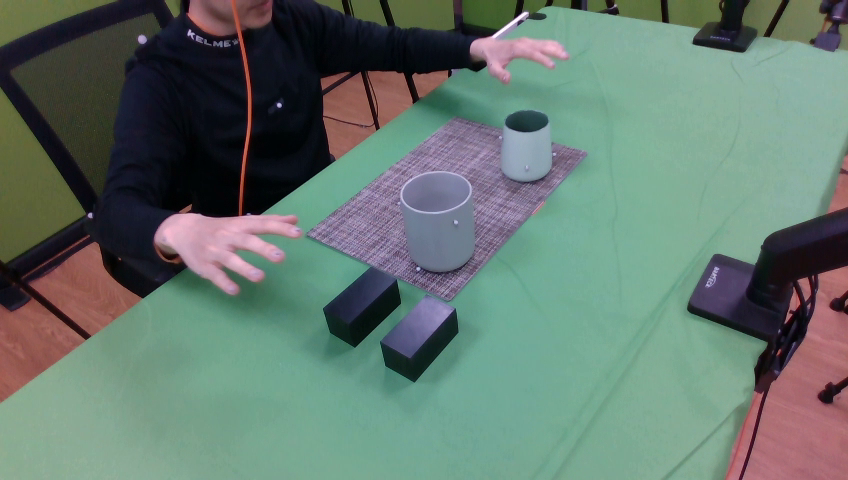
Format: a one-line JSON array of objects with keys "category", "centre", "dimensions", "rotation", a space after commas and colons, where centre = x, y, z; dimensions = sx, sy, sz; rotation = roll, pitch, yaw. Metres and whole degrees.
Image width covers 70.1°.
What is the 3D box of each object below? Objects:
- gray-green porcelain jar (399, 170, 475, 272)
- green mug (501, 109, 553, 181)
[{"category": "gray-green porcelain jar", "centre": [0.023, -0.024, 0.907], "dimensions": [0.106, 0.127, 0.105], "rotation": [-4, 41, 4]}, {"category": "green mug", "centre": [0.177, -0.177, 1.079], "dimensions": [0.093, 0.105, 0.124], "rotation": [-13, 41, -6]}]
